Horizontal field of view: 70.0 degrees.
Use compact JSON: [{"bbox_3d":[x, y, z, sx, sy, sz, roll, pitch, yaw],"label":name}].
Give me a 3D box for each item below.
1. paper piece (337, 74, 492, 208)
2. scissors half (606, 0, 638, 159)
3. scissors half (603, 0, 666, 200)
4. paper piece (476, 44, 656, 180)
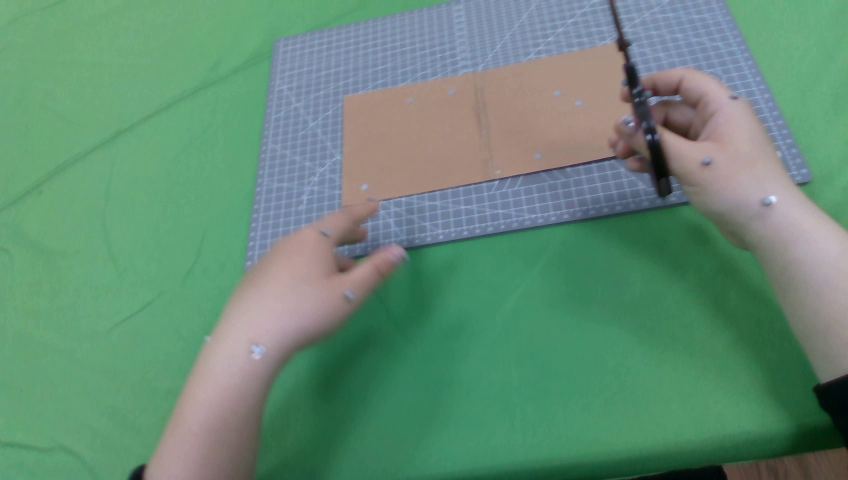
[{"bbox_3d":[-0.013,-0.094,0.550,0.138,0.009,0.134,-9,53,9],"label":"paper piece"},{"bbox_3d":[0.132,-0.116,0.400,0.013,0.176,0.040,-14,22,23],"label":"scissors half"},{"bbox_3d":[0.127,-0.109,0.382,0.013,0.040,0.175,-16,96,17],"label":"scissors half"},{"bbox_3d":[0.118,-0.117,0.531,0.135,0.004,0.134,-10,55,9],"label":"paper piece"}]
